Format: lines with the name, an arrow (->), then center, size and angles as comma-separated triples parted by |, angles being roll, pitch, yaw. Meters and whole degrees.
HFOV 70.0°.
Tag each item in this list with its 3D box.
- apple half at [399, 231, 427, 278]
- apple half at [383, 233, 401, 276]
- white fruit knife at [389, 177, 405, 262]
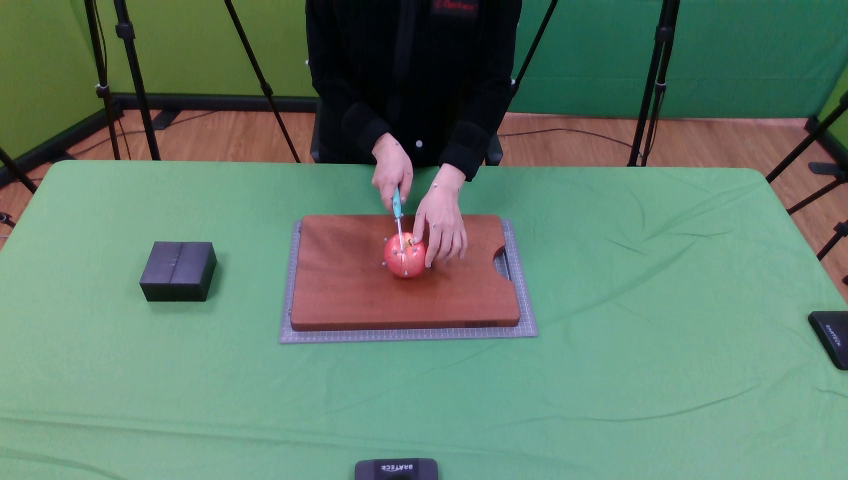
apple half -> -0.021, 0.028, 1.094 | 0.053, 0.075, 0.080 | 0, 43, -10
apple half -> -0.058, 0.028, 1.090 | 0.033, 0.081, 0.081 | 1, 46, -7
white fruit knife -> -0.047, -0.042, 1.086 | 0.016, 0.027, 0.206 | -16, 51, 8
